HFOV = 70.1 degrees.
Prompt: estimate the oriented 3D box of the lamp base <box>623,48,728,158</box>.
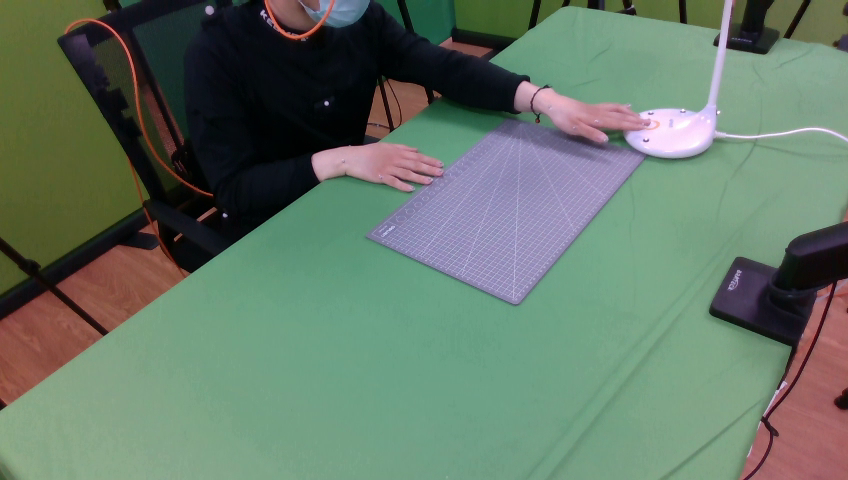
[{"bbox_3d":[0.462,-0.260,1.084,0.179,0.181,0.160,3,42,7],"label":"lamp base"}]
